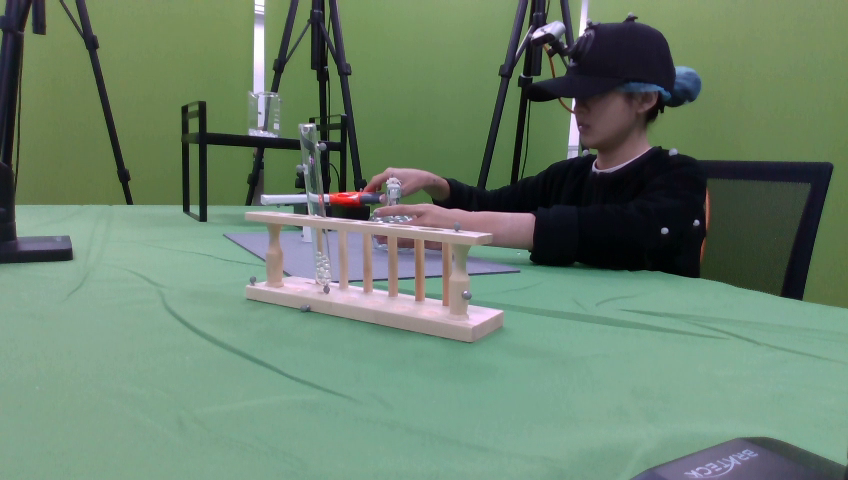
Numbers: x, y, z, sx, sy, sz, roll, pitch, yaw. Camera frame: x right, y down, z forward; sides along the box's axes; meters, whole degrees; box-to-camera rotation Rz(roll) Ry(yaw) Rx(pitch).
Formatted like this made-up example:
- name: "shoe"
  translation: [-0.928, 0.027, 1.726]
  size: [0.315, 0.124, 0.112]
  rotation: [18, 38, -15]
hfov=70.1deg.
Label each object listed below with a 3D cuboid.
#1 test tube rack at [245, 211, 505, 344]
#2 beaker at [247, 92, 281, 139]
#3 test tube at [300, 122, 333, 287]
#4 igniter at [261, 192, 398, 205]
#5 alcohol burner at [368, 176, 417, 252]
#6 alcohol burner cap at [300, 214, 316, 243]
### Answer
- name: "test tube rack"
  translation: [-0.049, 0.025, 0.547]
  size: [0.241, 0.085, 0.067]
  rotation: [7, 8, 29]
- name: "beaker"
  translation: [-0.361, -0.280, 1.359]
  size: [0.074, 0.100, 0.084]
  rotation: [4, 8, 8]
- name: "test tube"
  translation: [-0.096, -0.030, 0.543]
  size: [0.017, 0.150, 0.017]
  rotation: [-3, 14, 1]
- name: "igniter"
  translation: [-0.185, -0.083, 1.217]
  size: [0.278, 0.025, 0.057]
  rotation: [-2, 12, -25]
- name: "alcohol burner"
  translation: [-0.049, -0.041, 0.946]
  size: [0.078, 0.119, 0.078]
  rotation: [3, 5, 0]
- name: "alcohol burner cap"
  translation: [-0.186, -0.018, 0.991]
  size: [0.034, 0.048, 0.034]
  rotation: [2, 6, 0]
